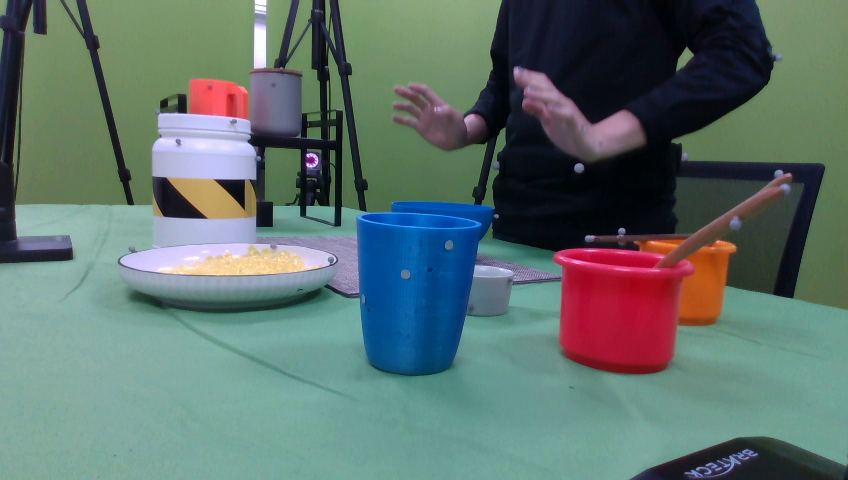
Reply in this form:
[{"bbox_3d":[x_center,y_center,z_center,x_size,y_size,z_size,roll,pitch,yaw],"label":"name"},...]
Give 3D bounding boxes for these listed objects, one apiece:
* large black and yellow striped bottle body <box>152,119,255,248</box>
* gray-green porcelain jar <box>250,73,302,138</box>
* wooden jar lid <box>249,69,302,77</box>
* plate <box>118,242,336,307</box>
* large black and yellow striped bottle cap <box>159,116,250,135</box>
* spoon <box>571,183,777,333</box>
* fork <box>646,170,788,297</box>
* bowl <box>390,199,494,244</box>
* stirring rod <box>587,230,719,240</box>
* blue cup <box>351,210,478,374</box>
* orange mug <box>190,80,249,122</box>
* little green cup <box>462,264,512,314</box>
[{"bbox_3d":[-0.296,-0.070,0.819,0.131,0.184,0.130,2,7,0],"label":"large black and yellow striped bottle body"},{"bbox_3d":[-0.312,-0.280,1.270,0.106,0.126,0.106,3,8,0],"label":"gray-green porcelain jar"},{"bbox_3d":[-0.309,-0.341,1.262,0.108,0.020,0.108,1,8,0],"label":"wooden jar lid"},{"bbox_3d":[-0.194,0.033,0.615,0.209,0.038,0.209,2,7,0],"label":"plate"},{"bbox_3d":[-0.292,-0.153,0.810,0.115,0.019,0.115,3,9,0],"label":"large black and yellow striped bottle cap"},{"bbox_3d":[0.161,0.020,0.413,0.042,0.021,0.193,1,-36,-24],"label":"spoon"},{"bbox_3d":[0.256,0.004,0.543,0.028,0.018,0.207,3,-36,-9],"label":"fork"},{"bbox_3d":[0.024,-0.015,0.871,0.151,0.077,0.151,3,7,0],"label":"bowl"},{"bbox_3d":[0.226,-0.005,0.587,0.177,0.006,0.014,-2,10,-29],"label":"stirring rod"},{"bbox_3d":[-0.009,0.034,0.414,0.093,0.100,0.092,4,8,0],"label":"blue cup"},{"bbox_3d":[-0.393,-0.257,1.173,0.126,0.100,0.084,1,6,25],"label":"orange mug"},{"bbox_3d":[0.053,0.047,0.580,0.061,0.038,0.061,3,8,0],"label":"little green cup"}]
